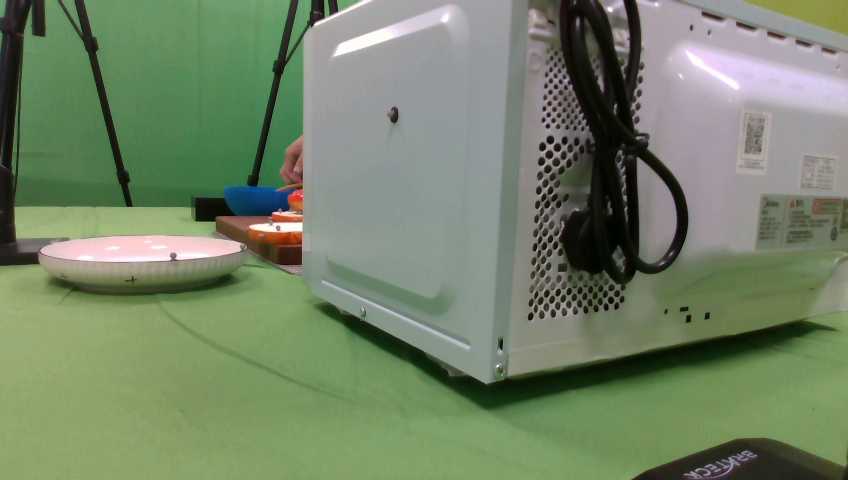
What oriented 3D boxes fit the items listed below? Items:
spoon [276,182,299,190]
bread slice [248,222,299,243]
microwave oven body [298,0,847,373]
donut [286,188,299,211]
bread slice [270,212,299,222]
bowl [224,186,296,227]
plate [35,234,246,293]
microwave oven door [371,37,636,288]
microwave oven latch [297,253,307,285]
[{"bbox_3d":[-0.300,-0.103,1.266,0.194,0.021,0.041,-24,8,-24],"label":"spoon"},{"bbox_3d":[-0.174,-0.012,0.844,0.135,0.018,0.106,-6,10,-44],"label":"bread slice"},{"bbox_3d":[0.151,-0.055,0.543,0.444,0.260,0.324,-2,7,-33],"label":"microwave oven body"},{"bbox_3d":[-0.190,-0.068,1.055,0.099,0.048,0.099,3,7,0],"label":"donut"},{"bbox_3d":[-0.198,-0.038,1.051,0.132,0.019,0.104,0,6,-31],"label":"bread slice"},{"bbox_3d":[-0.329,-0.068,1.230,0.151,0.077,0.151,3,7,0],"label":"bowl"},{"bbox_3d":[-0.305,0.026,0.668,0.208,0.039,0.207,3,7,0],"label":"plate"},{"bbox_3d":[0.109,-0.080,0.686,0.358,0.243,0.039,-2,9,-33],"label":"microwave oven door"},{"bbox_3d":[-0.082,0.027,0.582,0.079,0.029,0.030,-1,7,-32],"label":"microwave oven latch"}]
